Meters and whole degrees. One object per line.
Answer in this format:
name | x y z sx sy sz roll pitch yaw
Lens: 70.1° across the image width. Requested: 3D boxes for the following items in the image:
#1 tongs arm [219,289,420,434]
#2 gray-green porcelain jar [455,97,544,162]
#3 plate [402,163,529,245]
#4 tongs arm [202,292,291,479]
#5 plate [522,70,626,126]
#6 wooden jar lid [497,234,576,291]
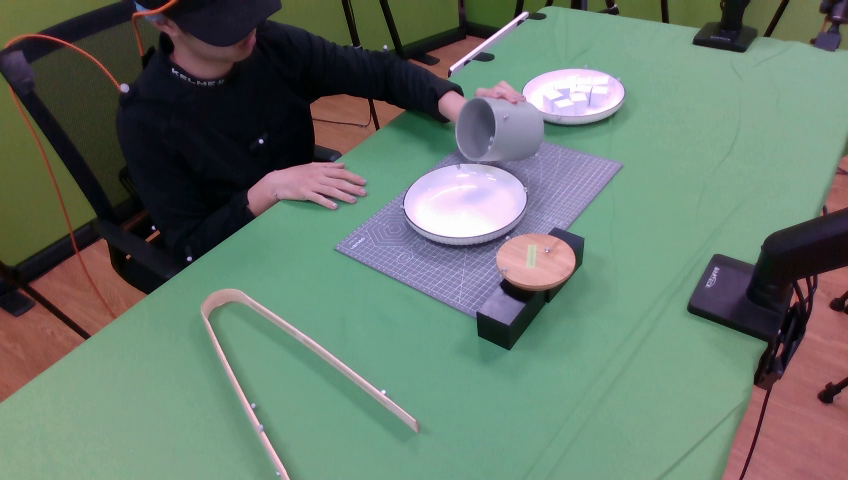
tongs arm | -0.152 0.151 0.812 0.384 0.028 0.028 26 53 33
gray-green porcelain jar | 0.134 -0.188 1.037 0.127 0.106 0.105 -7 34 -37
plate | 0.070 -0.056 1.008 0.209 0.038 0.208 -4 40 4
tongs arm | -0.216 0.187 0.772 0.051 0.026 0.381 -27 43 -24
plate | 0.308 -0.289 1.251 0.207 0.039 0.206 -4 40 4
wooden jar lid | 0.155 0.032 0.834 0.108 0.021 0.108 -5 40 5
